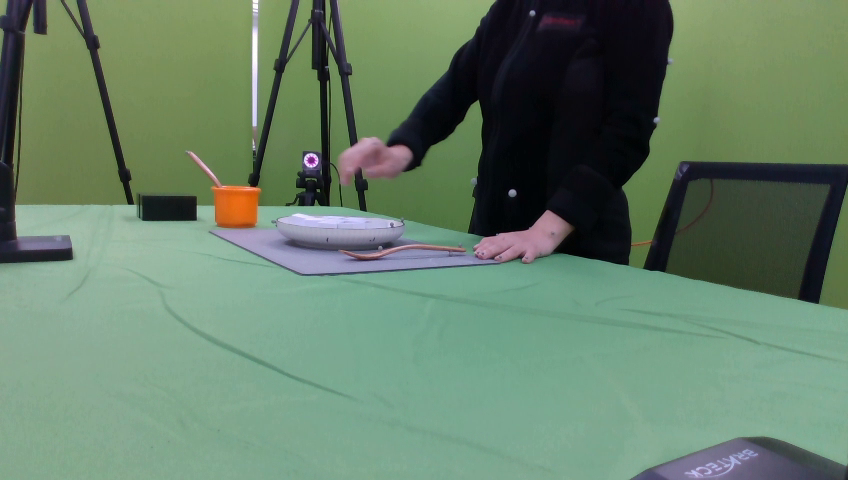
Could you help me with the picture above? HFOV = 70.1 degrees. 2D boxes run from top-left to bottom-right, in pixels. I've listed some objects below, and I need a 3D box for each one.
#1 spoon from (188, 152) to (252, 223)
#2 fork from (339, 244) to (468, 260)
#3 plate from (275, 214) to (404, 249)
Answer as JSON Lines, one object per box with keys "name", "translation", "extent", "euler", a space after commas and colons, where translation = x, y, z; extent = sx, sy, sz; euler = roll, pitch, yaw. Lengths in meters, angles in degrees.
{"name": "spoon", "translation": [-0.400, -0.103, 1.178], "extent": [0.021, 0.193, 0.042], "euler": [-43, -11, 28]}
{"name": "fork", "translation": [-0.024, 0.016, 0.865], "extent": [0.208, 0.018, 0.028], "euler": [-4, 5, -31]}
{"name": "plate", "translation": [-0.135, -0.013, 0.982], "extent": [0.208, 0.039, 0.207], "euler": [3, 7, 0]}
